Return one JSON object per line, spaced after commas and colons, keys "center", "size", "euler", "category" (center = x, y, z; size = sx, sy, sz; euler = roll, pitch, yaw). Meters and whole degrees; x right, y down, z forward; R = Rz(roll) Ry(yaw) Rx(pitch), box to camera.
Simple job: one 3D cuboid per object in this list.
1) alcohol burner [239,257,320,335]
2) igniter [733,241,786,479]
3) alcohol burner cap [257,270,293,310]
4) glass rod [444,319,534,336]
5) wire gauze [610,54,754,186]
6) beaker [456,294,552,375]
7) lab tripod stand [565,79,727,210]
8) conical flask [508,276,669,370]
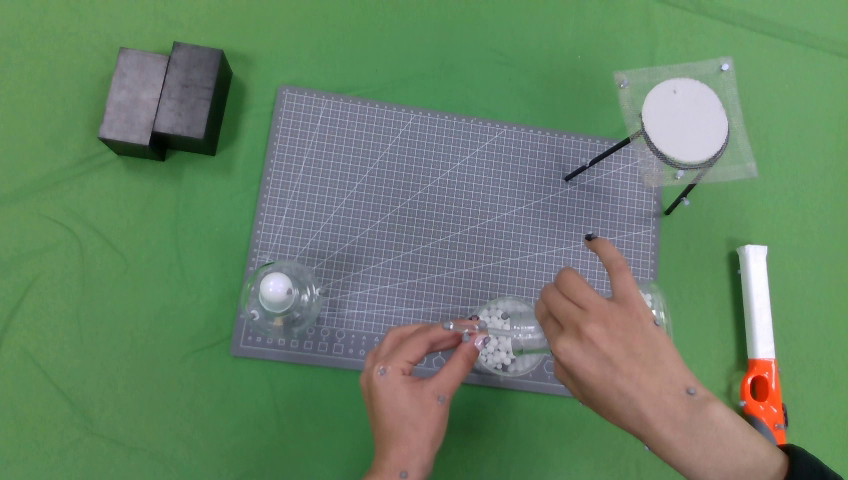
{"center": [-0.139, 0.051, 0.581], "size": [0.078, 0.119, 0.077], "euler": [2, 78, -8], "category": "alcohol burner"}
{"center": [0.371, 0.138, 0.672], "size": [0.057, 0.025, 0.275], "euler": [4, 79, -17], "category": "igniter"}
{"center": [-0.135, 0.042, 0.546], "size": [0.034, 0.048, 0.033], "euler": [4, 72, -13], "category": "alcohol burner cap"}
{"center": [0.062, 0.076, 0.515], "size": [0.008, 0.201, 0.008], "euler": [-5, 78, 27], "category": "glass rod"}
{"center": [0.250, -0.115, 0.581], "size": [0.125, 0.011, 0.121], "euler": [-8, 82, -8], "category": "wire gauze"}
{"center": [0.075, 0.095, 0.606], "size": [0.084, 0.100, 0.073], "euler": [-10, 81, -9], "category": "beaker"}
{"center": [0.240, -0.099, 0.645], "size": [0.149, 0.131, 0.148], "euler": [1, 81, -7], "category": "lab tripod stand"}
{"center": [0.131, 0.070, 0.495], "size": [0.122, 0.075, 0.075], "euler": [-5, 79, 9], "category": "conical flask"}
